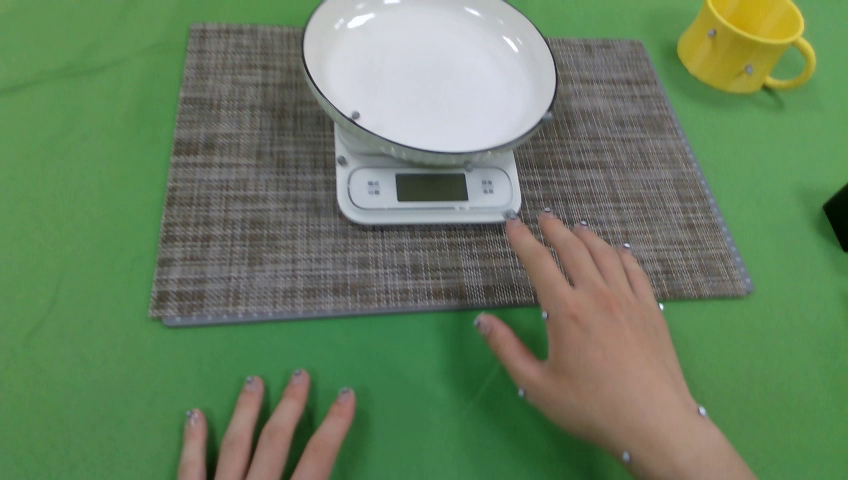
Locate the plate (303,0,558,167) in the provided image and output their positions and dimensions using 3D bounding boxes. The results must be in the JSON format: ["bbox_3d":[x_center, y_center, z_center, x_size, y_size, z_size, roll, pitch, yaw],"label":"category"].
[{"bbox_3d":[0.006,-0.139,0.504,0.209,0.038,0.207,5,57,-7],"label":"plate"}]

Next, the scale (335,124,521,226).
[{"bbox_3d":[-0.001,-0.101,0.518,0.149,0.032,0.199,0,58,-9],"label":"scale"}]

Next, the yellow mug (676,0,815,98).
[{"bbox_3d":[0.334,-0.196,0.618,0.130,0.064,0.100,38,60,14],"label":"yellow mug"}]
